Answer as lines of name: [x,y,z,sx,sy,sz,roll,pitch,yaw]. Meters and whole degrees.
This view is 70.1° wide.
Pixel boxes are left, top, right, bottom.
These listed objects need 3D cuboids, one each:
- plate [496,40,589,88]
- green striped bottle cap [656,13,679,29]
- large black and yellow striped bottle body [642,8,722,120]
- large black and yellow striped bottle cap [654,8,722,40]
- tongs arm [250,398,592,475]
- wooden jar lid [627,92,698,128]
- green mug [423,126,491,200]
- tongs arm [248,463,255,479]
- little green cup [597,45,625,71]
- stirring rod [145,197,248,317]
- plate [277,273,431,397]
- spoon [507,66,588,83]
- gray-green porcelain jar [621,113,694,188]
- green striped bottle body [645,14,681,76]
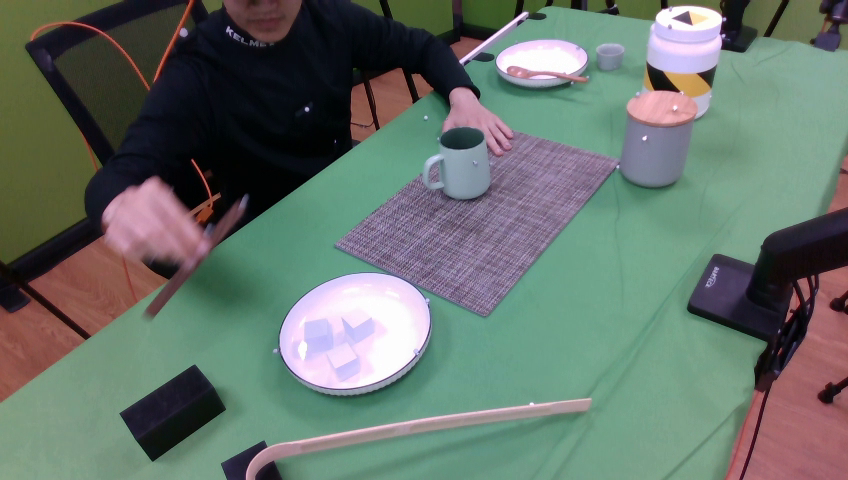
plate: [0.268,-0.397,1.381,0.209,0.038,0.208,-4,41,4]
green striped bottle cap: [0.515,-0.463,1.278,0.044,0.020,0.044,-6,42,6]
large black and yellow striped bottle body: [0.493,-0.334,1.161,0.131,0.185,0.130,-4,41,4]
large black and yellow striped bottle cap: [0.483,-0.397,1.108,0.115,0.019,0.114,-3,41,3]
tongs arm: [0.008,0.212,0.675,0.389,0.028,0.028,-5,46,-11]
wooden jar lid: [0.384,-0.207,0.980,0.108,0.021,0.108,-6,39,5]
green mug: [0.055,-0.125,1.039,0.126,0.105,0.091,-25,44,-19]
tongs arm: [0.012,0.262,0.615,0.385,0.026,0.050,3,41,-2]
little green cup: [0.422,-0.413,1.375,0.061,0.039,0.061,-3,41,3]
stirring rod: [-0.259,0.020,0.689,0.176,0.014,0.006,-49,16,5]
plate: [-0.091,0.129,0.821,0.207,0.039,0.206,-4,40,4]
spoon: [0.265,-0.357,1.311,0.192,0.022,0.042,18,48,38]
gray-green porcelain jar: [0.390,-0.161,1.020,0.106,0.127,0.105,-4,41,4]
green striped bottle body: [0.520,-0.424,1.312,0.063,0.120,0.063,-4,41,4]
